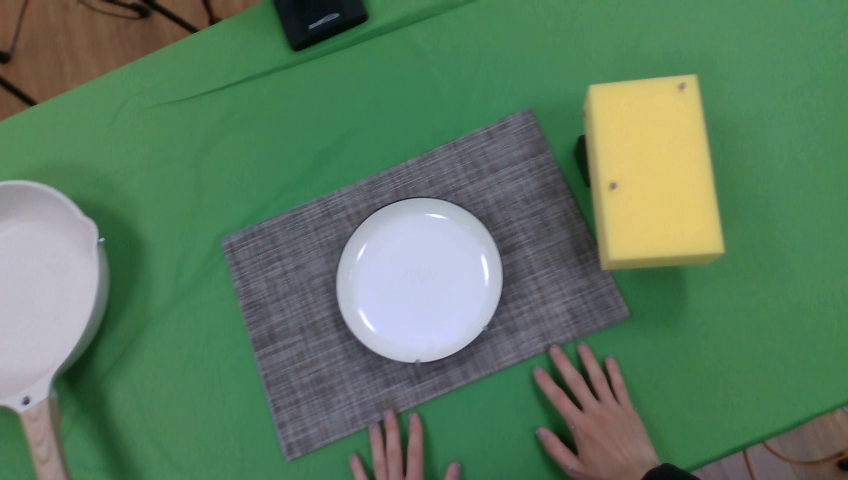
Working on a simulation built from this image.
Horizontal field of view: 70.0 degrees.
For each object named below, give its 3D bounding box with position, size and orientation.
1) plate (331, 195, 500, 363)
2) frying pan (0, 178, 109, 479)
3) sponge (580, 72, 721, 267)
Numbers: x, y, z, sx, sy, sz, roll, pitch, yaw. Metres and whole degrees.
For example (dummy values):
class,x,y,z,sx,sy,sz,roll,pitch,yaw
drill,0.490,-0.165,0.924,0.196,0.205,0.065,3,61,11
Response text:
class,x,y,z,sx,sy,sz,roll,pitch,yaw
plate,-0.010,0.048,0.751,0.207,0.039,0.206,-2,77,7
frying pan,-0.500,0.148,0.761,0.307,0.103,0.483,-31,67,1
sponge,0.250,-0.078,0.686,0.118,0.061,0.205,-5,76,6
